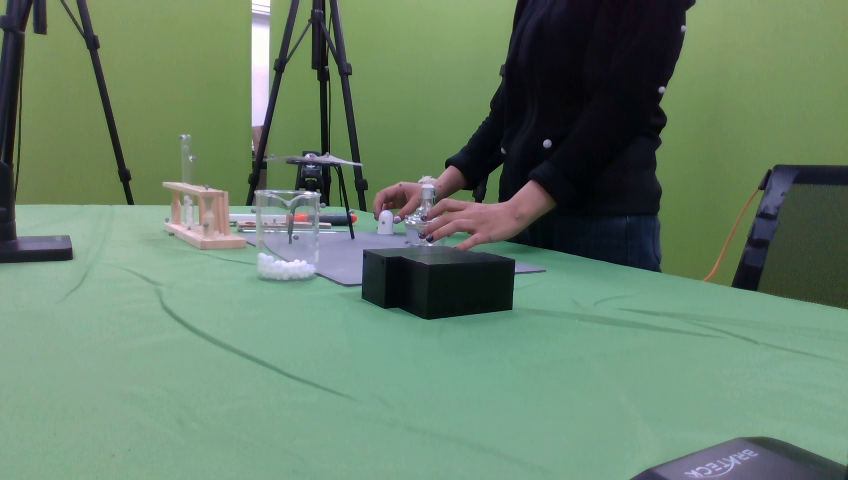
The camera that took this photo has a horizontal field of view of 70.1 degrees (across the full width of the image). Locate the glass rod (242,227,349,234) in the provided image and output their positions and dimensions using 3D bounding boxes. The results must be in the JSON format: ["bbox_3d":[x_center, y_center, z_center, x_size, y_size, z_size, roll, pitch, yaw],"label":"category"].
[{"bbox_3d":[-0.232,-0.016,1.110,0.201,0.008,0.008,2,6,-30],"label":"glass rod"}]

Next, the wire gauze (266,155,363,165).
[{"bbox_3d":[-0.185,-0.136,1.016,0.126,0.011,0.121,-4,11,-33],"label":"wire gauze"}]

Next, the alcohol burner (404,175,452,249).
[{"bbox_3d":[0.007,-0.045,0.970,0.078,0.119,0.078,1,9,0],"label":"alcohol burner"}]

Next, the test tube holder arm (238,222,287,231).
[{"bbox_3d":[-0.297,-0.024,1.114,0.088,0.015,0.010,-2,47,-33],"label":"test tube holder arm"}]

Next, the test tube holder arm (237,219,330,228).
[{"bbox_3d":[-0.261,-0.030,1.142,0.179,0.015,0.013,-4,48,-34],"label":"test tube holder arm"}]

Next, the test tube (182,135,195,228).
[{"bbox_3d":[-0.382,-0.095,0.983,0.017,0.150,0.017,-1,2,0],"label":"test tube"}]

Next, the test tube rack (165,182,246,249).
[{"bbox_3d":[-0.360,-0.045,0.982,0.067,0.085,0.241,-3,9,-34],"label":"test tube rack"}]

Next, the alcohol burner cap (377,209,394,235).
[{"bbox_3d":[-0.072,-0.035,1.145,0.034,0.048,0.034,2,7,0],"label":"alcohol burner cap"}]

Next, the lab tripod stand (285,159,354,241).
[{"bbox_3d":[-0.187,-0.068,1.013,0.148,0.131,0.148,4,9,0],"label":"lab tripod stand"}]

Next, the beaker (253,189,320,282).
[{"bbox_3d":[-0.156,-0.005,0.689,0.074,0.100,0.083,0,8,-14],"label":"beaker"}]

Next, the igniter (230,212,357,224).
[{"bbox_3d":[-0.271,-0.044,1.232,0.278,0.025,0.057,-2,-2,-27],"label":"igniter"}]
